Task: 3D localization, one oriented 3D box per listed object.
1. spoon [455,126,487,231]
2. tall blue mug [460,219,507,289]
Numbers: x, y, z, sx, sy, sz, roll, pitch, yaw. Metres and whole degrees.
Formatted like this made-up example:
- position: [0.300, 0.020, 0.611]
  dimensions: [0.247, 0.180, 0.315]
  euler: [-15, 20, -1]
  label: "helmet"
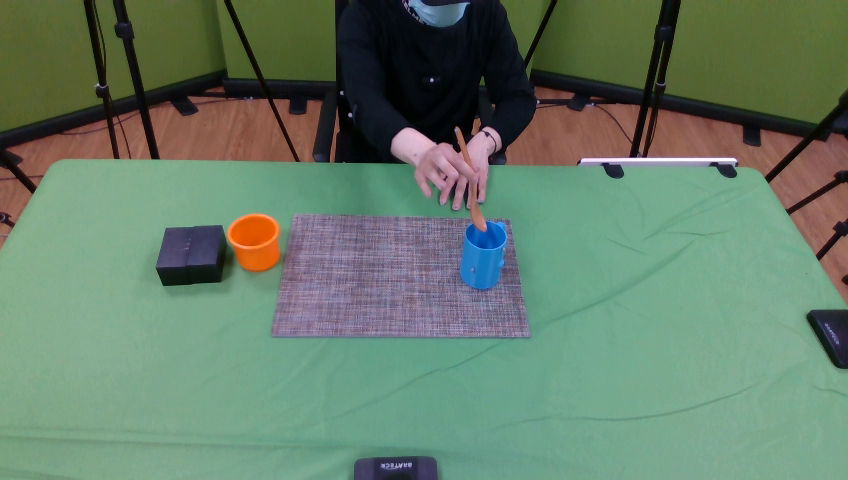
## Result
- position: [0.081, -0.103, 1.033]
  dimensions: [0.021, 0.194, 0.041]
  euler: [-2, 27, 23]
  label: "spoon"
- position: [0.111, 0.016, 1.121]
  dimensions: [0.078, 0.108, 0.106]
  euler: [6, 46, 4]
  label: "tall blue mug"
